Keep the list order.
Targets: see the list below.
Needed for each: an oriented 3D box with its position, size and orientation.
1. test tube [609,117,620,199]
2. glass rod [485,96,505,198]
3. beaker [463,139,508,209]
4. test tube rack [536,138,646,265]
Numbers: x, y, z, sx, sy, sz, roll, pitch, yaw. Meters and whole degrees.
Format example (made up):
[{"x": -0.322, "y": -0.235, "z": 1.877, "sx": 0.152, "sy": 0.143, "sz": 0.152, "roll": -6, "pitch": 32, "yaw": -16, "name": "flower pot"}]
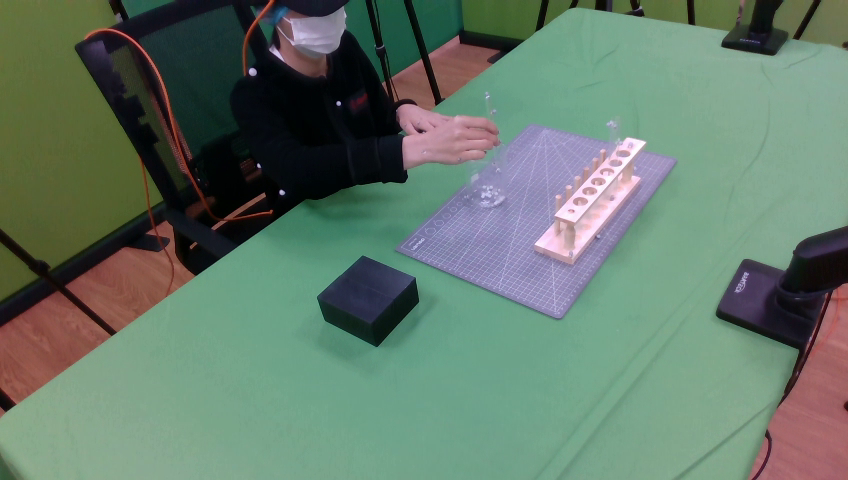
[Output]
[{"x": 0.298, "y": -0.125, "z": 0.946, "sx": 0.017, "sy": 0.151, "sz": 0.017, "roll": -8, "pitch": 42, "yaw": 8, "name": "test tube"}, {"x": 0.117, "y": -0.146, "z": 0.986, "sx": 0.008, "sy": 0.201, "sz": 0.008, "roll": -9, "pitch": 41, "yaw": 9, "name": "glass rod"}, {"x": 0.108, "y": -0.111, "z": 1.027, "sx": 0.073, "sy": 0.100, "sz": 0.084, "roll": 26, "pitch": 49, "yaw": 33, "name": "beaker"}, {"x": 0.268, "y": -0.071, "z": 0.964, "sx": 0.066, "sy": 0.085, "sz": 0.243, "roll": 23, "pitch": 49, "yaw": 32, "name": "test tube rack"}]
